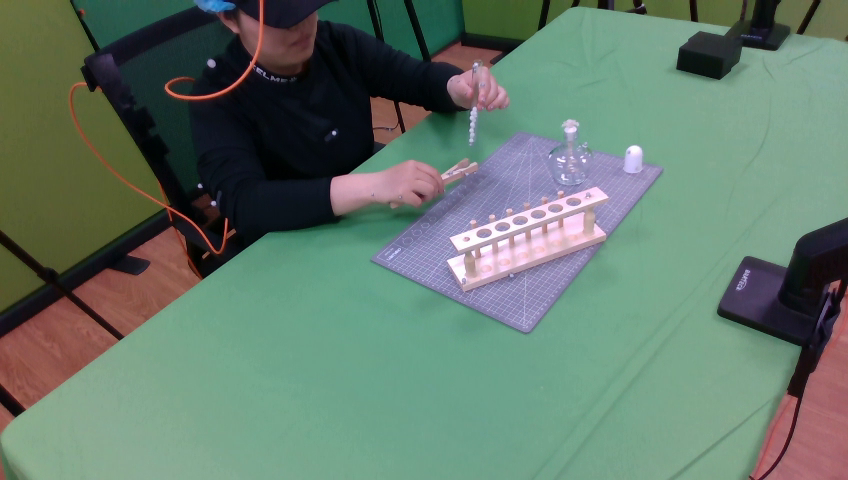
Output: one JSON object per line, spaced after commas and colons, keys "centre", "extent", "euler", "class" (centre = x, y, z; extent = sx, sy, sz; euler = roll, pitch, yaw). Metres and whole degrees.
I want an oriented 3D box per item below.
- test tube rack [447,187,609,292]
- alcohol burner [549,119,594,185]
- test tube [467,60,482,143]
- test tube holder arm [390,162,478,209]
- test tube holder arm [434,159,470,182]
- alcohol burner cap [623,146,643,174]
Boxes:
{"centre": [0.155, -0.011, 0.913], "extent": [0.243, 0.085, 0.066], "euler": [-19, 40, -11], "class": "test tube rack"}
{"centre": [0.254, -0.155, 1.043], "extent": [0.078, 0.120, 0.077], "euler": [-7, 40, 6], "class": "alcohol burner"}
{"centre": [0.085, -0.232, 1.025], "extent": [0.017, 0.150, 0.017], "euler": [1, 39, 0], "class": "test tube"}
{"centre": [0.019, -0.095, 1.040], "extent": [0.179, 0.015, 0.013], "euler": [-28, 38, -23], "class": "test tube holder arm"}
{"centre": [0.050, -0.118, 1.064], "extent": [0.010, 0.015, 0.088], "euler": [22, 46, 36], "class": "test tube holder arm"}
{"centre": [0.369, -0.142, 1.061], "extent": [0.034, 0.048, 0.033], "euler": [-7, 40, 6], "class": "alcohol burner cap"}
